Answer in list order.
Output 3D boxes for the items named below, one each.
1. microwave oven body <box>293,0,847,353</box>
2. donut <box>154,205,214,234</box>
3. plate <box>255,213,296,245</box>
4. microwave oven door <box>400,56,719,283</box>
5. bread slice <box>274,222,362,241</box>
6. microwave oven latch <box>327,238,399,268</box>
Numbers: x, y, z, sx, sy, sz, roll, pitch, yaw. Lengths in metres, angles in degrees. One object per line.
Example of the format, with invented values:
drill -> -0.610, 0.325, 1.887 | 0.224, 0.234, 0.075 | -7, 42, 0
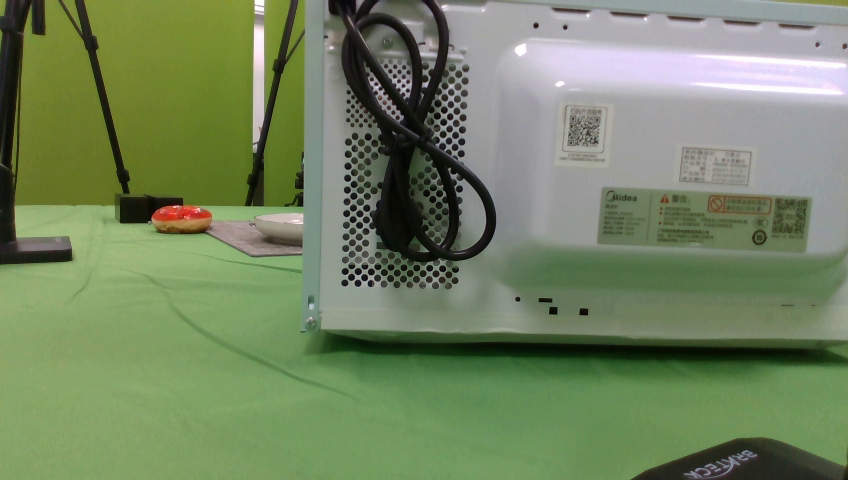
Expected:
microwave oven body -> 0.122, -0.055, 0.550 | 0.442, 0.260, 0.325 | 3, 7, -5
donut -> -0.426, -0.037, 1.075 | 0.099, 0.048, 0.099 | 2, 12, 0
plate -> -0.177, -0.017, 1.017 | 0.208, 0.039, 0.207 | 2, 7, 0
microwave oven door -> 0.155, -0.077, 0.697 | 0.356, 0.243, 0.039 | 2, 8, -5
bread slice -> -0.181, -0.016, 1.011 | 0.104, 0.019, 0.132 | 6, 8, 27
microwave oven latch -> -0.069, 0.015, 0.694 | 0.079, 0.029, 0.030 | 3, 7, -3
